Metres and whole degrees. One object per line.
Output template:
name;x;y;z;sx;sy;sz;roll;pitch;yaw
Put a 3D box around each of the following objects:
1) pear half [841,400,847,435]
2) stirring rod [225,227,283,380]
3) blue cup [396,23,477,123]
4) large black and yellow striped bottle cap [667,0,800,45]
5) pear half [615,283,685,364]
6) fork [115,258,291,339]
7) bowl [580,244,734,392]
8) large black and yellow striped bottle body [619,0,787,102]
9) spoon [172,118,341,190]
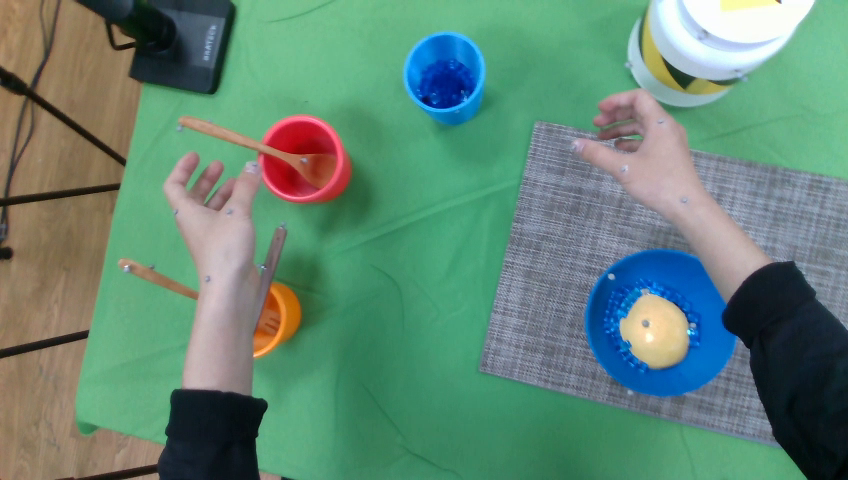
pear half;0.462;0.189;0.606;0.056;0.110;0.076;-7;83;7
stirring rod;-0.187;0.070;0.665;0.014;0.006;0.176;18;91;4
blue cup;0.019;-0.173;0.676;0.092;0.100;0.092;0;86;7
large black and yellow striped bottle cap;0.269;-0.228;0.524;0.115;0.019;0.115;0;88;8
pear half;0.242;0.088;0.644;0.070;0.031;0.087;-14;82;3
fork;-0.239;0.066;0.672;0.209;0.018;0.028;31;103;-37
bowl;0.240;0.081;0.650;0.151;0.077;0.151;0;88;7
large black and yellow striped bottle body;0.278;-0.225;0.607;0.130;0.184;0.130;0;87;6
spoon;-0.180;-0.099;0.675;0.195;0.021;0.041;18;92;-37
